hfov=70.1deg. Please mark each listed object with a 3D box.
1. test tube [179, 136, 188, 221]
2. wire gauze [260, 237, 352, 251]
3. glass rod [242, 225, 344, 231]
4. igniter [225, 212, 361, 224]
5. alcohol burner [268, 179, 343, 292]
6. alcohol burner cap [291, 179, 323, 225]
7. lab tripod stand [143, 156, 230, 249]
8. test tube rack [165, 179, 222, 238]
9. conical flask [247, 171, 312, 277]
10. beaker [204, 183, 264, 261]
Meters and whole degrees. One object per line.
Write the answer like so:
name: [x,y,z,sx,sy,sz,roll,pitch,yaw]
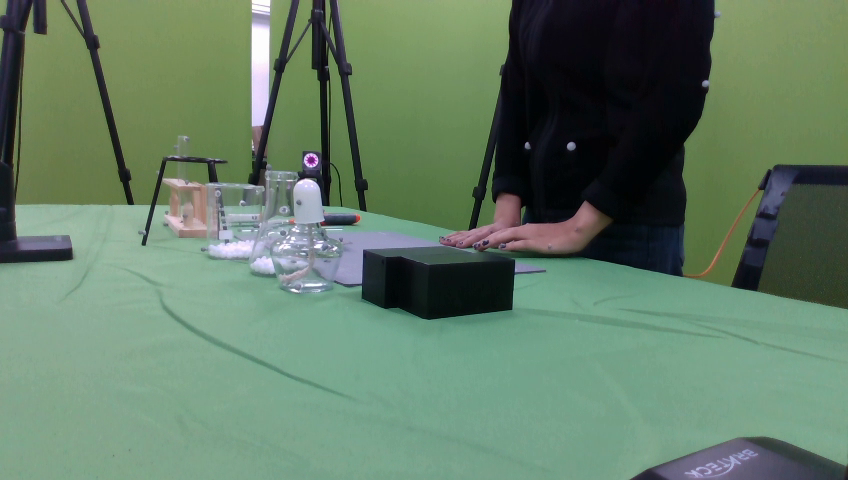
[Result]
test tube: [-0.425,-0.108,1.070,0.017,0.150,0.017,4,9,0]
wire gauze: [-0.185,0.004,0.938,0.122,0.011,0.124,-1,5,-24]
glass rod: [-0.246,-0.023,1.155,0.201,0.008,0.008,-2,8,-31]
igniter: [-0.262,-0.044,1.240,0.278,0.025,0.057,-2,-1,-31]
alcohol burner: [-0.124,-0.005,0.637,0.078,0.119,0.078,4,8,0]
alcohol burner cap: [-0.124,-0.040,0.632,0.034,0.048,0.034,-3,10,1]
lab tripod stand: [-0.339,-0.058,0.908,0.148,0.131,0.148,4,7,0]
test tube rack: [-0.423,-0.062,1.098,0.067,0.085,0.241,-2,9,-28]
conical flask: [-0.170,-0.021,0.717,0.075,0.122,0.075,2,7,0]
beaker: [-0.254,-0.026,0.817,0.073,0.100,0.084,9,9,39]
